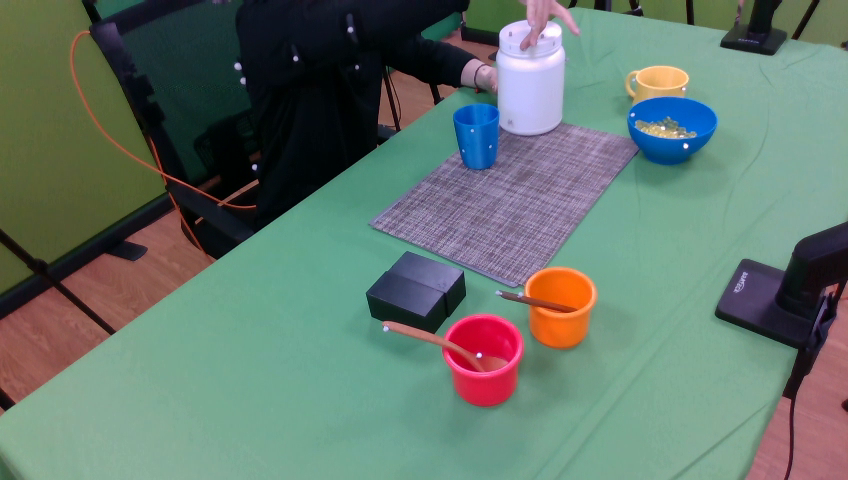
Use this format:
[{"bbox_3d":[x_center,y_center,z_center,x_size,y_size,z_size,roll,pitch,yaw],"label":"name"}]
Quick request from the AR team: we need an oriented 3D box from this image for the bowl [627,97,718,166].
[{"bbox_3d":[0.439,-0.187,1.087,0.151,0.077,0.150,-4,41,4],"label":"bowl"}]

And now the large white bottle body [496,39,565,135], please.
[{"bbox_3d":[0.207,-0.314,1.181,0.130,0.185,0.130,-4,41,4],"label":"large white bottle body"}]

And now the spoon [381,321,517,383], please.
[{"bbox_3d":[0.033,0.131,0.725,0.195,0.021,0.041,29,29,-26],"label":"spoon"}]

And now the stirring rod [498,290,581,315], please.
[{"bbox_3d":[0.152,0.081,0.771,0.178,0.006,0.014,16,19,-44],"label":"stirring rod"}]

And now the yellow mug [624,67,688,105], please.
[{"bbox_3d":[0.465,-0.305,1.230,0.100,0.064,0.129,-34,46,-27],"label":"yellow mug"}]

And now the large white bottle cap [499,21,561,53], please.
[{"bbox_3d":[0.197,-0.379,1.125,0.115,0.018,0.114,-4,41,4],"label":"large white bottle cap"}]

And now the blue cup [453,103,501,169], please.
[{"bbox_3d":[0.099,-0.188,1.114,0.092,0.100,0.092,-4,39,3],"label":"blue cup"}]
